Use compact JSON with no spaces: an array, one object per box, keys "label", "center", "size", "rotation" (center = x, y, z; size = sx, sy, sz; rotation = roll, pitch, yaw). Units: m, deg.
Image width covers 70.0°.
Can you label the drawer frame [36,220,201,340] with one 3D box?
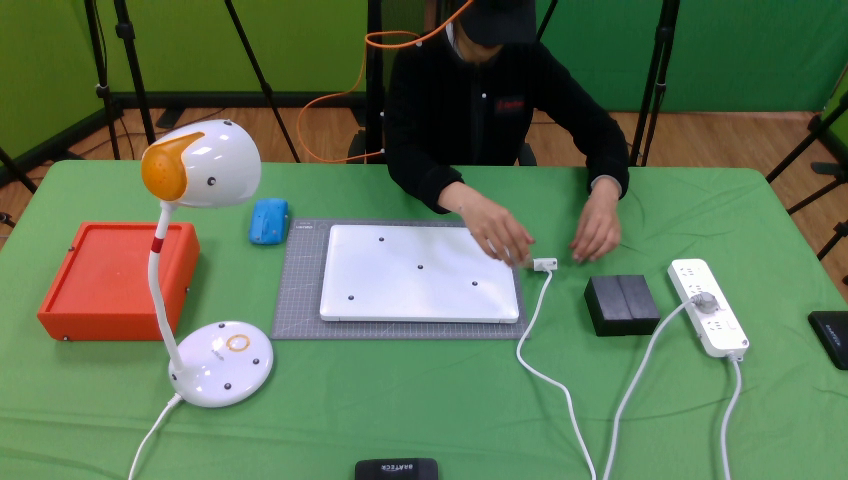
[{"label":"drawer frame","center":[-0.517,0.065,1.055],"size":[0.202,0.083,0.212],"rotation":[0,47,-5]}]

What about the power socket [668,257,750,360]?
[{"label":"power socket","center":[0.517,0.117,1.109],"size":[0.072,0.033,0.225],"rotation":[-3,47,-4]}]

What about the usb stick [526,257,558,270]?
[{"label":"usb stick","center":[0.226,0.046,1.160],"size":[0.059,0.021,0.027],"rotation":[-3,7,8]}]

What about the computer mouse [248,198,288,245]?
[{"label":"computer mouse","center":[-0.309,-0.041,1.205],"size":[0.063,0.041,0.116],"rotation":[3,50,-3]}]

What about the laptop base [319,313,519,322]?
[{"label":"laptop base","center":[-0.009,0.062,1.137],"size":[0.354,0.023,0.234],"rotation":[1,42,-3]}]

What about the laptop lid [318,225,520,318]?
[{"label":"laptop lid","center":[-0.008,0.053,1.130],"size":[0.357,0.013,0.240],"rotation":[2,43,-2]}]

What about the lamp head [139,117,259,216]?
[{"label":"lamp head","center":[-0.281,-0.086,0.734],"size":[0.112,0.113,0.123],"rotation":[21,25,16]}]

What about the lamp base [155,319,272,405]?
[{"label":"lamp base","center":[-0.330,0.149,0.918],"size":[0.160,0.181,0.179],"rotation":[26,52,20]}]

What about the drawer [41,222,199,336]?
[{"label":"drawer","center":[-0.519,0.064,1.058],"size":[0.195,0.073,0.210],"rotation":[1,47,-4]}]

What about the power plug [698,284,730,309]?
[{"label":"power plug","center":[0.510,0.096,1.059],"size":[0.052,0.073,0.035],"rotation":[-22,61,10]}]
